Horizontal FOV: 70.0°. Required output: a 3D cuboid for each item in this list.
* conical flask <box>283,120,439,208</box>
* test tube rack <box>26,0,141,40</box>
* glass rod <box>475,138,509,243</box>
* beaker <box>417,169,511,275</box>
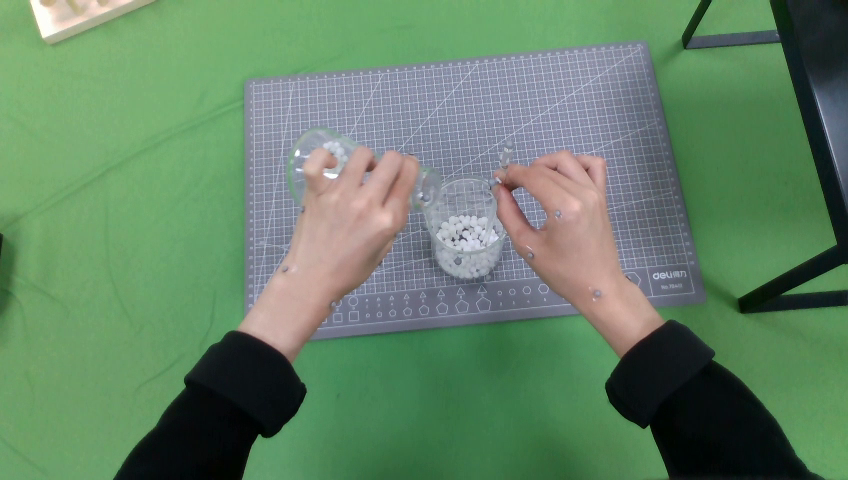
[{"bbox_3d":[-0.049,-0.055,0.504,0.121,0.076,0.075,13,73,25],"label":"conical flask"},{"bbox_3d":[-0.350,-0.325,0.686,0.242,0.085,0.066,-26,73,-6],"label":"test tube rack"},{"bbox_3d":[0.054,-0.034,0.509,0.008,0.201,0.008,0,70,-1],"label":"glass rod"},{"bbox_3d":[0.036,-0.012,0.566,0.084,0.101,0.073,18,74,9],"label":"beaker"}]
